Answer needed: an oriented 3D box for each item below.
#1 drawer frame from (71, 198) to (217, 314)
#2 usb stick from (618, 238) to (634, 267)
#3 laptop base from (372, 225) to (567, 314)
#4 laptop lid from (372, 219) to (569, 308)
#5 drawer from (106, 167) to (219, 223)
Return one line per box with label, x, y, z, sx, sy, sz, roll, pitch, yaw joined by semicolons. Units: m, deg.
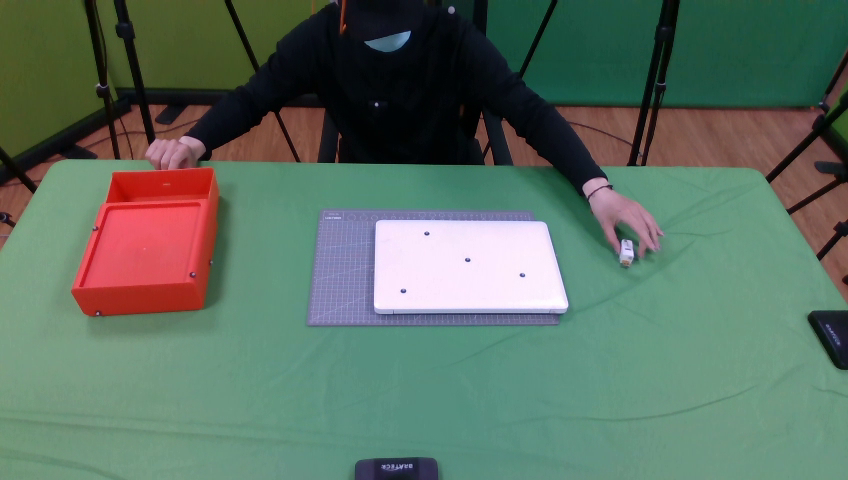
drawer frame;-0.493;0.023;1.096;0.202;0.083;0.212;-3;47;-8
usb stick;0.399;0.026;1.199;0.021;0.027;0.059;15;49;-3
laptop base;0.080;0.049;1.159;0.355;0.023;0.234;0;43;-4
laptop lid;0.081;0.039;1.152;0.357;0.013;0.240;2;44;-3
drawer;-0.507;-0.045;1.163;0.195;0.073;0.210;-3;47;-9
